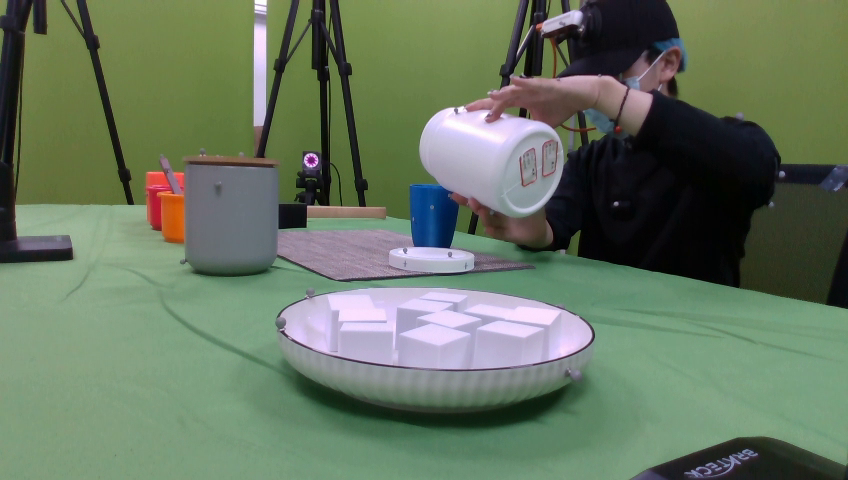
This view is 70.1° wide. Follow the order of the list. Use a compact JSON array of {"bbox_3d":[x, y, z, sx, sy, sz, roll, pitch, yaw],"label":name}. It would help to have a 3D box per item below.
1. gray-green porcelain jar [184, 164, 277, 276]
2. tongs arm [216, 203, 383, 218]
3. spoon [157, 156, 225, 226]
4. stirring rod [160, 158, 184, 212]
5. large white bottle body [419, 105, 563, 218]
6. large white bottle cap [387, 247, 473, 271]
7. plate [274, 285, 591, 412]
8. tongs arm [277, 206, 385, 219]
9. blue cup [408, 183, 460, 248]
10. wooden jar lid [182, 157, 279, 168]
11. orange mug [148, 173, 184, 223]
[{"bbox_3d":[-0.230,-0.025,0.722,0.106,0.126,0.106,3,7,0],"label":"gray-green porcelain jar"},{"bbox_3d":[-0.289,-0.069,1.435,0.389,0.027,0.028,1,-1,-18],"label":"tongs arm"},{"bbox_3d":[-0.425,-0.094,1.117,0.041,0.022,0.194,4,51,29],"label":"spoon"},{"bbox_3d":[-0.390,-0.070,0.972,0.014,0.006,0.175,-1,49,-49],"label":"stirring rod"},{"bbox_3d":[0.088,-0.118,0.856,0.131,0.130,0.183,-4,22,-38],"label":"large white bottle body"},{"bbox_3d":[0.009,0.025,0.804,0.115,0.018,0.115,2,7,0],"label":"large white bottle cap"},{"bbox_3d":[0.005,0.069,0.408,0.208,0.039,0.207,2,7,0],"label":"plate"},{"bbox_3d":[-0.252,-0.062,1.361,0.387,0.026,0.050,-1,3,-32],"label":"tongs arm"},{"bbox_3d":[0.015,-0.038,0.970,0.093,0.100,0.092,2,9,0],"label":"blue cup"},{"bbox_3d":[-0.227,-0.086,0.714,0.108,0.020,0.108,0,6,0],"label":"wooden jar lid"},{"bbox_3d":[-0.490,-0.087,1.222,0.127,0.101,0.083,-9,13,-38],"label":"orange mug"}]
